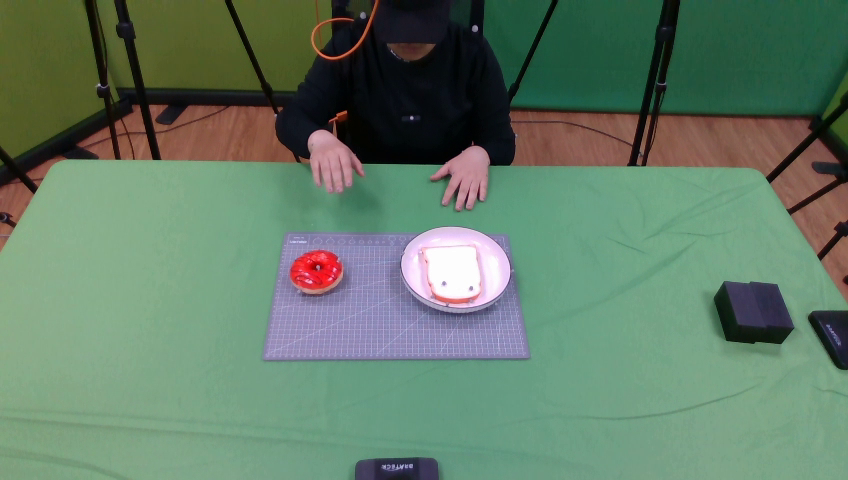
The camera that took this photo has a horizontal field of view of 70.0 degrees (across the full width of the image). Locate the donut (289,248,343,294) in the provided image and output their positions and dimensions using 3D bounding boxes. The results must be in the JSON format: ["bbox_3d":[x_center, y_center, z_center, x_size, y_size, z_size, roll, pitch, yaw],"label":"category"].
[{"bbox_3d":[-0.197,0.056,1.111,0.099,0.048,0.098,1,45,-1],"label":"donut"}]

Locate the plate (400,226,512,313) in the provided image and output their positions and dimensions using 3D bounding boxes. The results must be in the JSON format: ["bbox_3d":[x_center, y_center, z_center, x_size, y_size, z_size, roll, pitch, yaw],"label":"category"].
[{"bbox_3d":[0.057,0.057,1.134,0.209,0.038,0.208,2,46,-2],"label":"plate"}]

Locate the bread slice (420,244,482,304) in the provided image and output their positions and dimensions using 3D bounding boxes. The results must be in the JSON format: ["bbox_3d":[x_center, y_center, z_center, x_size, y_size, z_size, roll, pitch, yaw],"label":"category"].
[{"bbox_3d":[0.055,0.062,1.131,0.107,0.018,0.133,-6,46,-8],"label":"bread slice"}]
